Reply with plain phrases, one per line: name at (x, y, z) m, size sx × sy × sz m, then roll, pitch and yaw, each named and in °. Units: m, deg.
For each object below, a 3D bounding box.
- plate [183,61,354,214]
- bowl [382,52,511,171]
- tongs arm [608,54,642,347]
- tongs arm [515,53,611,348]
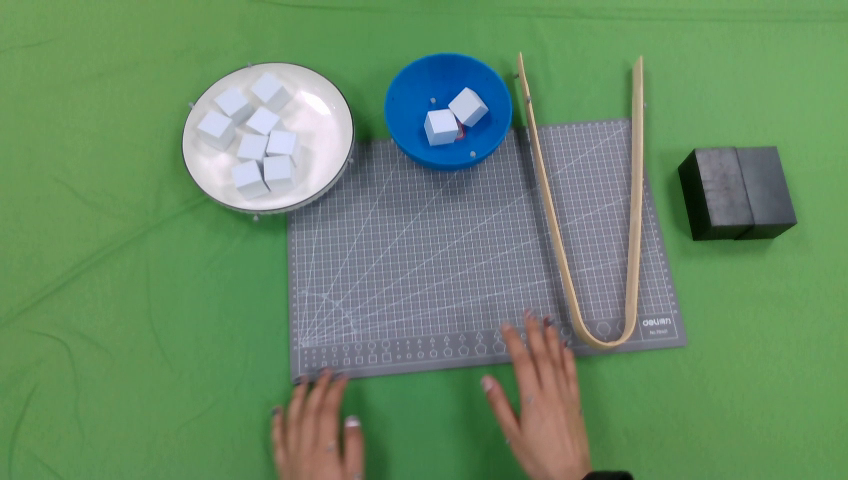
plate at (-0.188, -0.125, 0.751) m, size 0.208 × 0.039 × 0.206 m, roll 0°, pitch 70°, yaw 1°
bowl at (0.026, -0.142, 0.737) m, size 0.151 × 0.077 × 0.150 m, roll 0°, pitch 70°, yaw -1°
tongs arm at (0.247, -0.059, 0.737) m, size 0.028 × 0.028 × 0.385 m, roll 11°, pitch 71°, yaw -4°
tongs arm at (0.163, -0.060, 0.733) m, size 0.051 × 0.026 × 0.382 m, roll -4°, pitch 72°, yaw -6°
